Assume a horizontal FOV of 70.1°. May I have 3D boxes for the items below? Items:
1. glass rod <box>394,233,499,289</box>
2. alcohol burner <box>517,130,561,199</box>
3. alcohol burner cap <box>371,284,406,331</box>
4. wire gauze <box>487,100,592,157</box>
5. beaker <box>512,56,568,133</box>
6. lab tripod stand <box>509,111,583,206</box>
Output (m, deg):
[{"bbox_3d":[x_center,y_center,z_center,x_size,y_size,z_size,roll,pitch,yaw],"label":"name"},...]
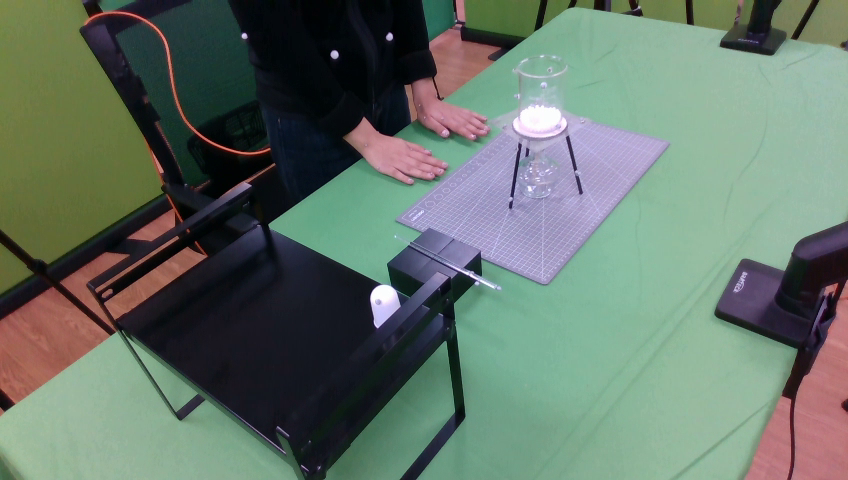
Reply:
[{"bbox_3d":[0.027,0.029,0.873,0.198,0.008,0.008,27,51,34],"label":"glass rod"},{"bbox_3d":[0.193,-0.131,1.025,0.078,0.119,0.077,-4,38,4],"label":"alcohol burner"},{"bbox_3d":[-0.037,0.065,0.608,0.034,0.048,0.033,-4,42,4],"label":"alcohol burner cap"},{"bbox_3d":[0.185,-0.187,0.974,0.122,0.011,0.124,-28,47,-22],"label":"wire gauze"},{"bbox_3d":[0.181,-0.225,0.946,0.084,0.101,0.074,3,41,12],"label":"beaker"},{"bbox_3d":[0.198,-0.139,1.019,0.148,0.132,0.147,-3,39,3],"label":"lab tripod stand"}]
